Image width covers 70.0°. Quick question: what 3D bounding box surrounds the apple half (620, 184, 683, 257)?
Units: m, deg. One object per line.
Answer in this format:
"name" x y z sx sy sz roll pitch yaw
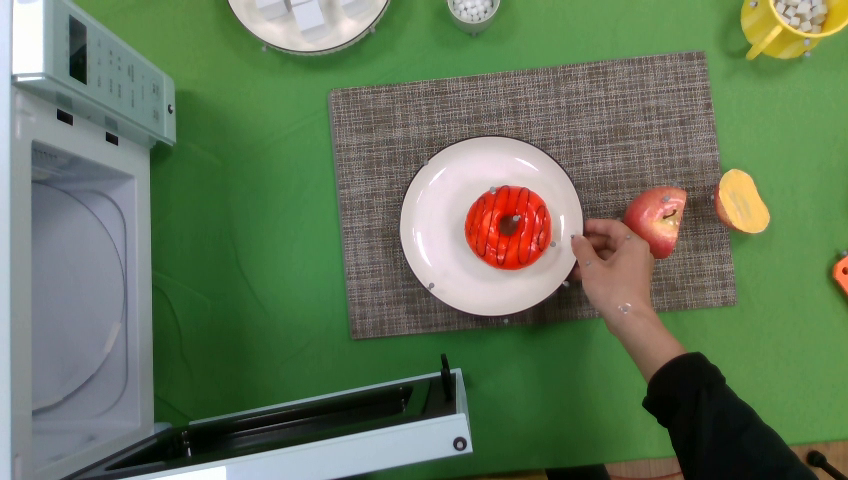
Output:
"apple half" 0.247 -0.024 0.674 0.053 0.075 0.081 13 90 7

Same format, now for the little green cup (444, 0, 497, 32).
"little green cup" 0.055 -0.279 0.718 0.061 0.039 0.061 0 86 3

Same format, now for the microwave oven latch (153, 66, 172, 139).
"microwave oven latch" -0.310 -0.159 0.705 0.030 0.029 0.079 -1 87 2

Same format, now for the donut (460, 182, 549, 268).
"donut" 0.090 -0.016 0.677 0.099 0.048 0.099 -1 84 5

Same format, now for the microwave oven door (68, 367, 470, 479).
"microwave oven door" -0.134 0.187 0.576 0.356 0.244 0.039 -12 85 1

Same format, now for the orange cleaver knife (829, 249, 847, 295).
"orange cleaver knife" 0.530 0.099 0.687 0.077 0.012 0.211 -20 85 -4

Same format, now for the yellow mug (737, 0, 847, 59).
"yellow mug" 0.412 -0.258 0.690 0.100 0.064 0.131 42 90 4

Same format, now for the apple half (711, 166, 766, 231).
"apple half" 0.347 -0.042 0.688 0.082 0.033 0.080 10 67 -25

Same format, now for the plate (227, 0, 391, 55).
"plate" -0.135 -0.319 0.727 0.207 0.039 0.207 0 86 2

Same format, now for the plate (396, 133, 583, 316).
"plate" 0.073 -0.017 0.690 0.209 0.038 0.208 -1 82 6

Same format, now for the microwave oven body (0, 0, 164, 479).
"microwave oven body" -0.454 0.018 0.603 0.326 0.260 0.441 -3 87 1
